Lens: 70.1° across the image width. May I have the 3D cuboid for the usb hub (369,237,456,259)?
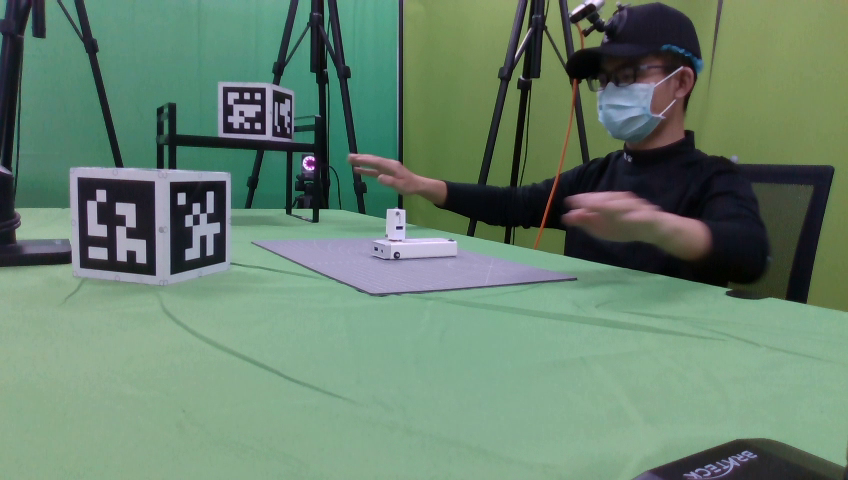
[{"bbox_3d":[-0.016,0.012,0.909,0.126,0.025,0.049,-2,9,-32],"label":"usb hub"}]

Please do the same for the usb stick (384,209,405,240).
[{"bbox_3d":[-0.044,-0.016,0.892,0.021,0.059,0.027,-1,9,-35],"label":"usb stick"}]
